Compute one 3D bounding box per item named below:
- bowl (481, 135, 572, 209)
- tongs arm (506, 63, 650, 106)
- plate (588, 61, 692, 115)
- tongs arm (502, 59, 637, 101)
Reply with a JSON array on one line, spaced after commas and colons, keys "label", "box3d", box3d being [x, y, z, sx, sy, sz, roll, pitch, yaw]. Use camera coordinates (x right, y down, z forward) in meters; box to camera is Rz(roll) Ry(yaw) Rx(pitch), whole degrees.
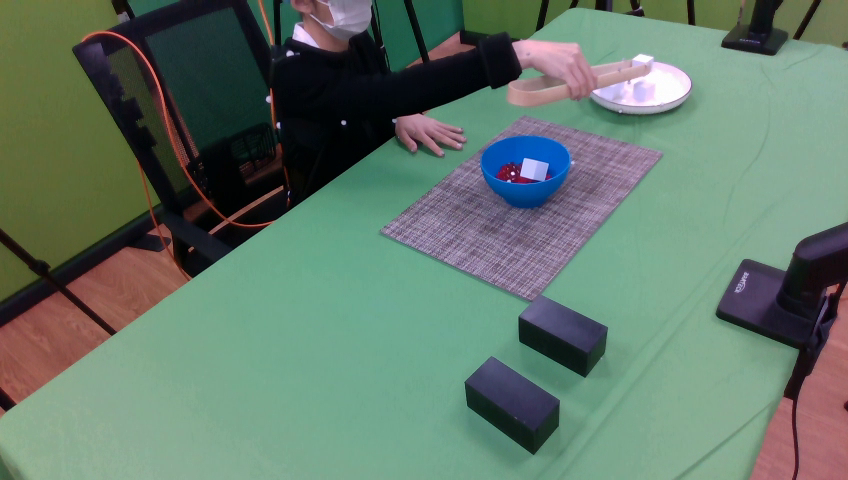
[{"label": "bowl", "box3d": [0.172, -0.106, 1.025, 0.151, 0.077, 0.150, -4, 40, 4]}, {"label": "tongs arm", "box3d": [0.292, -0.290, 1.101, 0.387, 0.026, 0.050, -24, 45, -38]}, {"label": "plate", "box3d": [0.445, -0.313, 1.263, 0.209, 0.038, 0.208, -5, 40, 4]}, {"label": "tongs arm", "box3d": [0.278, -0.301, 1.115, 0.390, 0.028, 0.028, -20, 46, -34]}]
